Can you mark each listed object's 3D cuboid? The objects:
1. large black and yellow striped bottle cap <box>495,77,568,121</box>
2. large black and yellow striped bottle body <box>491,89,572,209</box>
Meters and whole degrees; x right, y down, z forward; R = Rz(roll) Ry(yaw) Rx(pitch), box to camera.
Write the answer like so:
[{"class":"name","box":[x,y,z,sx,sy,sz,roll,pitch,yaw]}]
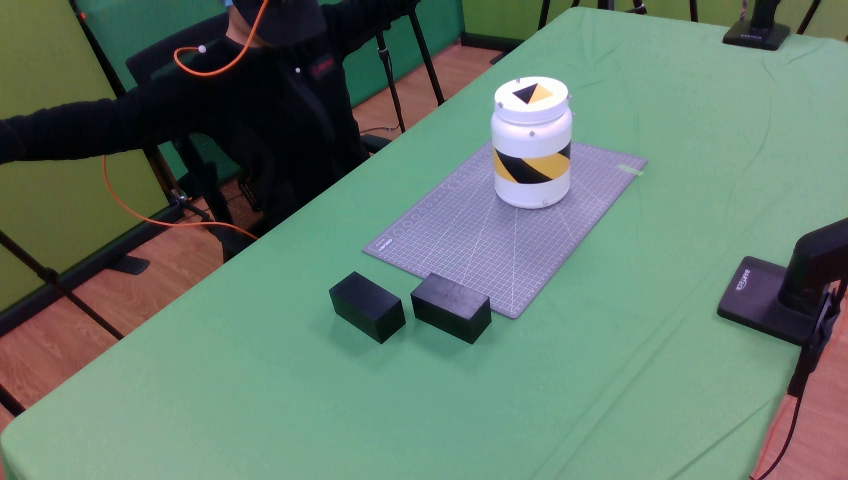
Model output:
[{"class":"large black and yellow striped bottle cap","box":[0.169,-0.224,0.954,0.115,0.019,0.114,-4,41,4]},{"class":"large black and yellow striped bottle body","box":[0.180,-0.160,1.006,0.131,0.185,0.130,-5,40,5]}]
